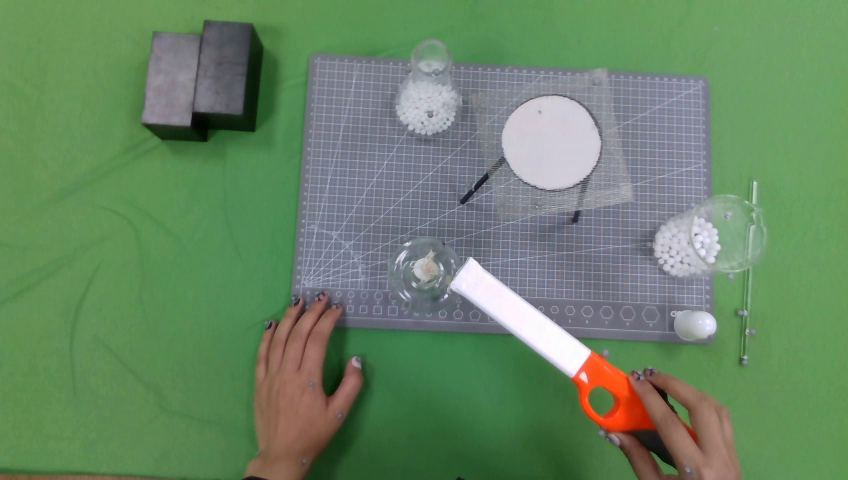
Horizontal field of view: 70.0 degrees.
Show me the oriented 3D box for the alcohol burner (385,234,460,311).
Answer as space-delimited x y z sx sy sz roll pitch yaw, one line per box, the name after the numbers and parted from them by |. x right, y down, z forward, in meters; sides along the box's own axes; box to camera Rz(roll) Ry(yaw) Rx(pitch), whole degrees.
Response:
-0.001 0.029 0.590 0.078 0.119 0.077 0 80 0 | alcohol burner

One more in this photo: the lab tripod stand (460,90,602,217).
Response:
0.108 -0.078 0.599 0.148 0.131 0.148 0 84 -1 | lab tripod stand

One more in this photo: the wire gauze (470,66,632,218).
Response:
0.111 -0.086 0.532 0.125 0.011 0.121 -10 83 -3 | wire gauze

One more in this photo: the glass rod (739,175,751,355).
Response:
0.350 0.025 0.660 0.008 0.008 0.199 6 82 -1 | glass rod

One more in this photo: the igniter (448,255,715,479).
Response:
0.136 0.109 0.509 0.277 0.025 0.057 38 87 -2 | igniter

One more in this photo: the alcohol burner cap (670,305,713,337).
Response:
0.281 0.084 0.629 0.034 0.048 0.033 0 81 -2 | alcohol burner cap

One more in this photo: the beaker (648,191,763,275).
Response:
0.280 -0.004 0.612 0.084 0.100 0.074 -34 84 -7 | beaker

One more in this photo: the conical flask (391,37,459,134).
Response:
0.002 -0.160 0.612 0.075 0.122 0.075 0 81 -1 | conical flask
